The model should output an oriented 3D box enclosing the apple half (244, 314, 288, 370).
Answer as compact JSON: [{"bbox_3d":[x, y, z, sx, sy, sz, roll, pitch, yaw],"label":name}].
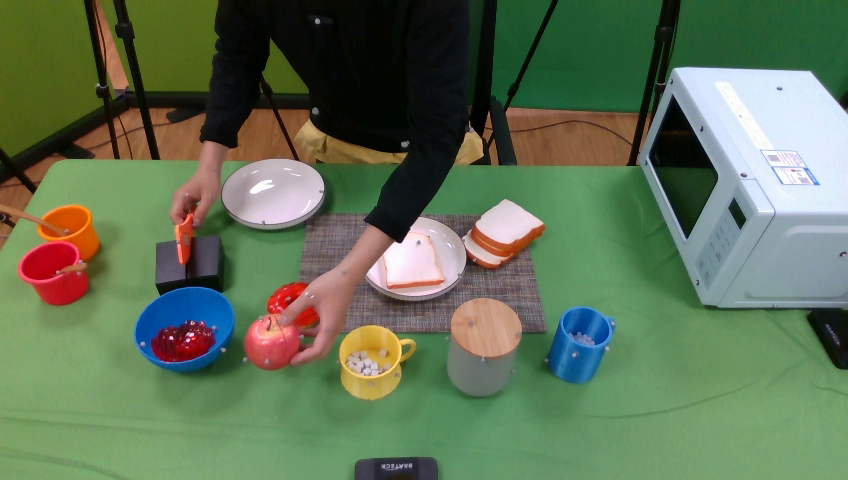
[{"bbox_3d":[-0.240,0.157,0.906,0.053,0.075,0.080,-16,49,-25],"label":"apple half"}]

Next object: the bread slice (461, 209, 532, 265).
[{"bbox_3d":[0.134,-0.004,1.193,0.104,0.019,0.131,30,51,26],"label":"bread slice"}]

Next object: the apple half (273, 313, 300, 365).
[{"bbox_3d":[-0.206,0.148,0.923,0.033,0.081,0.081,-15,49,-25],"label":"apple half"}]

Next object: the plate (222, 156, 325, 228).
[{"bbox_3d":[-0.308,-0.095,1.251,0.209,0.038,0.208,3,47,-3],"label":"plate"}]

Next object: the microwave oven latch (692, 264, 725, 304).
[{"bbox_3d":[0.522,0.081,1.116,0.030,0.029,0.078,1,46,-2],"label":"microwave oven latch"}]

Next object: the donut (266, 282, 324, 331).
[{"bbox_3d":[-0.222,0.115,1.049,0.099,0.048,0.098,2,45,-2],"label":"donut"}]

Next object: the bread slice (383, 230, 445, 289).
[{"bbox_3d":[-0.028,0.035,1.145,0.107,0.018,0.133,-7,48,-12],"label":"bread slice"}]

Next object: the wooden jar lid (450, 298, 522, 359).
[{"bbox_3d":[0.093,0.135,0.914,0.108,0.021,0.107,3,48,-3],"label":"wooden jar lid"}]

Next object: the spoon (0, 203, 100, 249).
[{"bbox_3d":[-0.683,-0.031,1.088,0.021,0.195,0.041,-36,43,25],"label":"spoon"}]

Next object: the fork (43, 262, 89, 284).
[{"bbox_3d":[-0.599,0.053,1.013,0.207,0.019,0.028,-14,30,45],"label":"fork"}]

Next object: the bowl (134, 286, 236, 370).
[{"bbox_3d":[-0.377,0.156,0.981,0.151,0.077,0.150,2,45,-2],"label":"bowl"}]

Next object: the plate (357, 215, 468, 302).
[{"bbox_3d":[-0.022,0.037,1.141,0.208,0.039,0.206,2,46,-2],"label":"plate"}]

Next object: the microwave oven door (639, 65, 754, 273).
[{"bbox_3d":[0.522,-0.147,1.193,0.039,0.245,0.353,0,47,-3],"label":"microwave oven door"}]

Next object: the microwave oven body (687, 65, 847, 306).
[{"bbox_3d":[0.669,-0.111,1.176,0.326,0.261,0.439,0,46,-3],"label":"microwave oven body"}]

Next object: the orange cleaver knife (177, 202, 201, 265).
[{"bbox_3d":[-0.430,-0.016,1.118,0.012,0.077,0.210,-6,20,-9],"label":"orange cleaver knife"}]

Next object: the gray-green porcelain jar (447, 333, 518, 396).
[{"bbox_3d":[0.091,0.178,0.960,0.106,0.127,0.105,2,46,-2],"label":"gray-green porcelain jar"}]

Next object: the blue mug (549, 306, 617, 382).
[{"bbox_3d":[0.269,0.166,0.998,0.116,0.106,0.082,-19,51,-21],"label":"blue mug"}]

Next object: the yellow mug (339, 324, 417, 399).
[{"bbox_3d":[-0.072,0.190,0.978,0.131,0.064,0.099,-17,50,-20],"label":"yellow mug"}]
